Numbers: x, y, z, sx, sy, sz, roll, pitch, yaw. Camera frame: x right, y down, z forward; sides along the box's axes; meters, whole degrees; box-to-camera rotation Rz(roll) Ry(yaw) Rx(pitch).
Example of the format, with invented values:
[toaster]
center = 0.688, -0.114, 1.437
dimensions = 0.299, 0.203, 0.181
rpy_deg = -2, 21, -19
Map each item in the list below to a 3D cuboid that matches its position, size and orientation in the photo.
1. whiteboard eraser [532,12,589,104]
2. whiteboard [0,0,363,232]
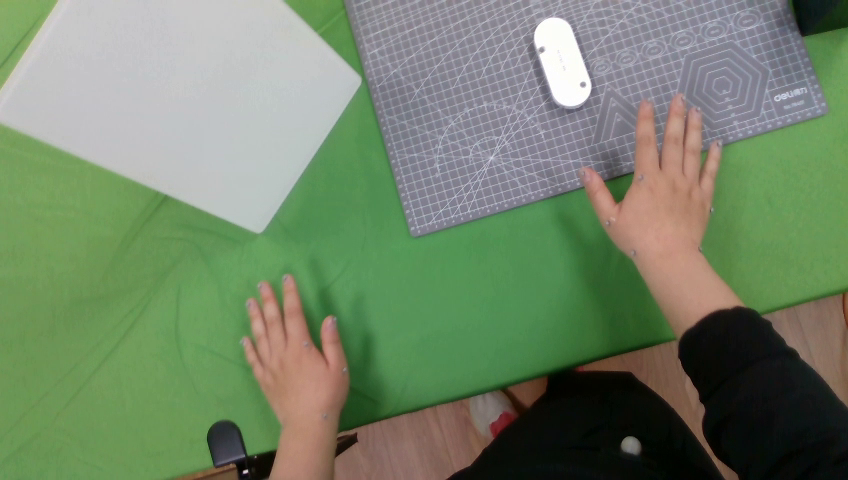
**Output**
[whiteboard eraser]
center = 0.146, -0.196, 0.651
dimensions = 0.041, 0.019, 0.101
rpy_deg = -17, 84, 6
[whiteboard]
center = -0.241, -0.173, 0.598
dimensions = 0.142, 0.308, 0.217
rpy_deg = 35, 92, 30
